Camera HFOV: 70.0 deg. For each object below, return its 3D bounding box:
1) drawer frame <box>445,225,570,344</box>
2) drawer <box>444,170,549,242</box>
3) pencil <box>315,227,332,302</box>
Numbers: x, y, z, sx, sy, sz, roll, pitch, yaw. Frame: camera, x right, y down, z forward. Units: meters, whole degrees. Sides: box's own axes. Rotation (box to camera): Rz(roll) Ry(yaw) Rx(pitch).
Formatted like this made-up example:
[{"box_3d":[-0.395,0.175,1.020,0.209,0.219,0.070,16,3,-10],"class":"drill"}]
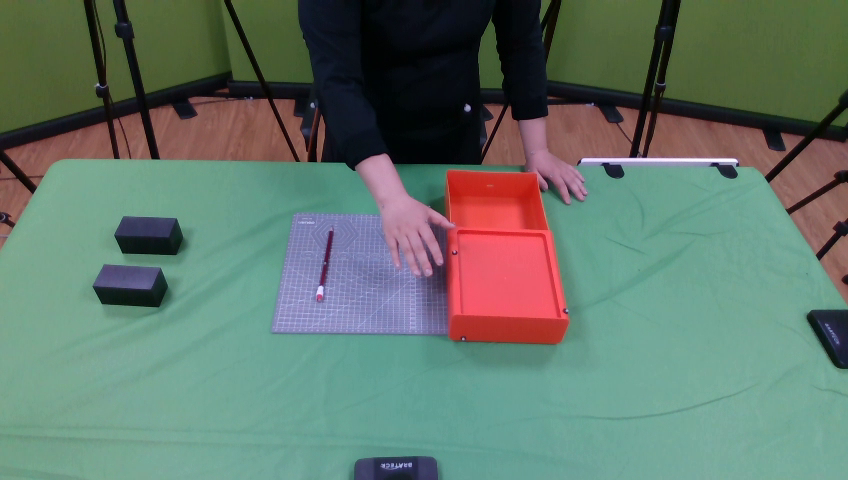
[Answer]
[{"box_3d":[0.141,0.076,1.089,0.202,0.083,0.212,2,47,-3],"class":"drawer frame"},{"box_3d":[0.141,-0.049,1.217,0.194,0.073,0.210,2,43,-3],"class":"drawer"},{"box_3d":[-0.188,0.041,1.148,0.012,0.012,0.193,3,44,-1],"class":"pencil"}]
